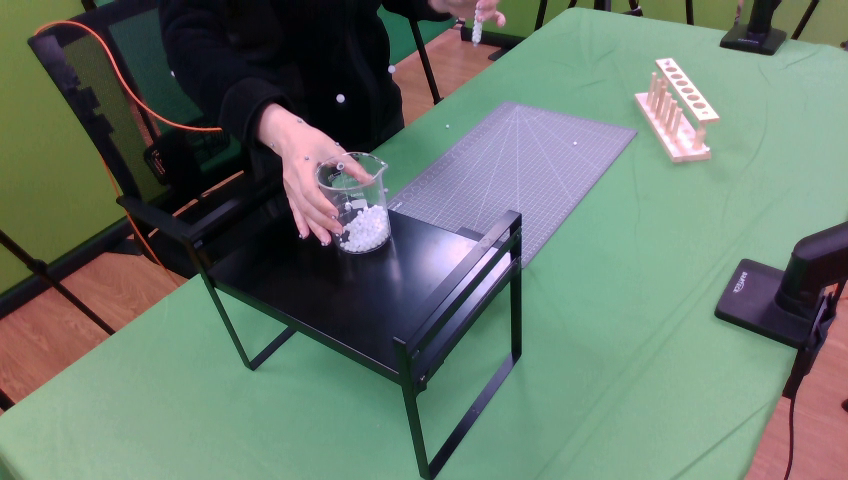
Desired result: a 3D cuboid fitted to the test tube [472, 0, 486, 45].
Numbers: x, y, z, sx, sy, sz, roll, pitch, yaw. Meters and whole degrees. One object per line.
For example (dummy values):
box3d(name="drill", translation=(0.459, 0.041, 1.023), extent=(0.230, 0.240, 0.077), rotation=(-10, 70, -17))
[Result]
box3d(name="test tube", translation=(0.088, -0.373, 0.939), extent=(0.017, 0.150, 0.017), rotation=(2, 49, -1))

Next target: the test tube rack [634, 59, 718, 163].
box3d(name="test tube rack", translation=(0.470, -0.250, 1.148), extent=(0.067, 0.085, 0.241), rotation=(-6, 40, 3))

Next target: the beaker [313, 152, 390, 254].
box3d(name="beaker", translation=(-0.077, -0.041, 0.698), extent=(0.084, 0.101, 0.073), rotation=(-15, 42, -10))
